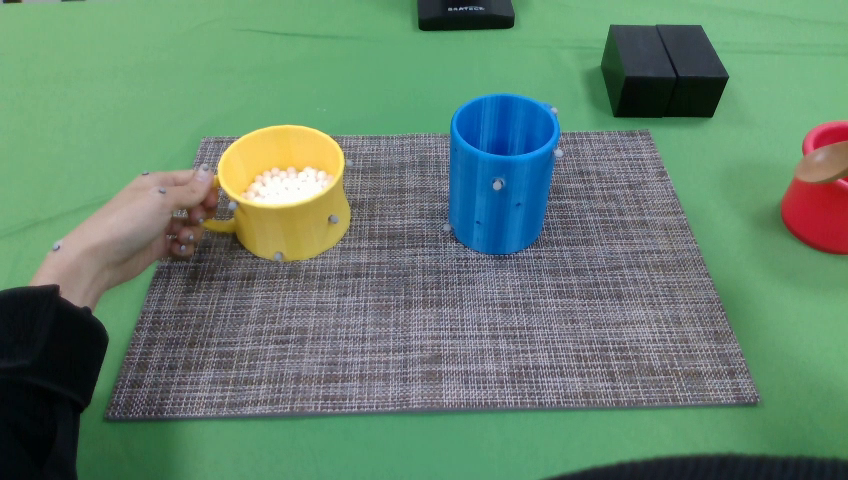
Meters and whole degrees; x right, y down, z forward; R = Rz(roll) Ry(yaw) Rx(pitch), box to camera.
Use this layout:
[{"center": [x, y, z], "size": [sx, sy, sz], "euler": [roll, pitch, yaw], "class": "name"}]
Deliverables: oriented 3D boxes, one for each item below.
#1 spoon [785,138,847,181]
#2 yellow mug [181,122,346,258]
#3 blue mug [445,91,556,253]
[{"center": [0.287, -0.069, 0.355], "size": [0.041, 0.194, 0.021], "euler": [-43, 86, -11], "class": "spoon"}, {"center": [-0.132, -0.039, 0.502], "size": [0.131, 0.064, 0.099], "euler": [-13, 51, -13], "class": "yellow mug"}, {"center": [0.069, -0.062, 0.500], "size": [0.081, 0.107, 0.116], "euler": [35, 57, 27], "class": "blue mug"}]
